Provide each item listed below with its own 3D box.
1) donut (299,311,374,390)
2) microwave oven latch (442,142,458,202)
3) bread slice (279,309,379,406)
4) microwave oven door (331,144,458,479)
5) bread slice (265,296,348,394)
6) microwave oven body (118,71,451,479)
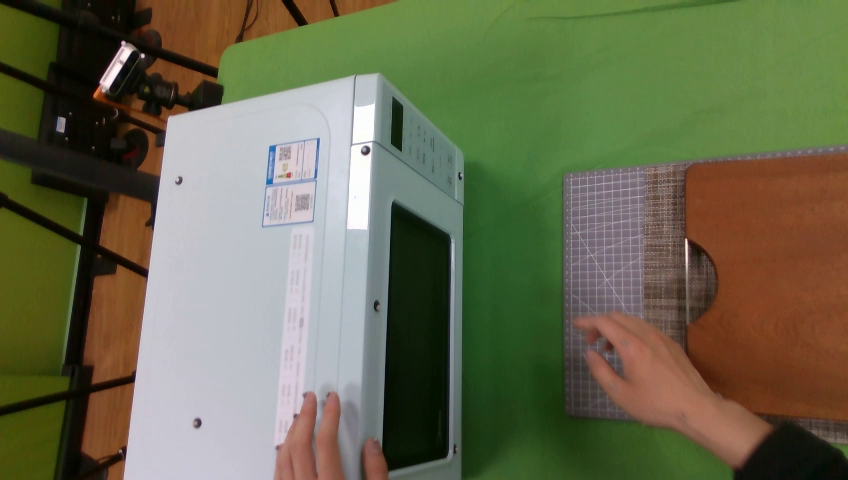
[{"bbox_3d":[-0.110,0.136,0.751,0.099,0.048,0.099,1,94,15],"label":"donut"},{"bbox_3d":[0.029,-0.090,0.810,0.030,0.030,0.079,-5,77,24],"label":"microwave oven latch"},{"bbox_3d":[-0.129,0.147,0.787,0.131,0.019,0.105,13,88,21],"label":"bread slice"},{"bbox_3d":[-0.022,0.100,0.674,0.039,0.246,0.354,-5,76,25],"label":"microwave oven door"},{"bbox_3d":[-0.141,0.131,0.714,0.134,0.018,0.106,-18,72,36],"label":"bread slice"},{"bbox_3d":[-0.151,0.073,0.749,0.325,0.262,0.439,-5,77,24],"label":"microwave oven body"}]
